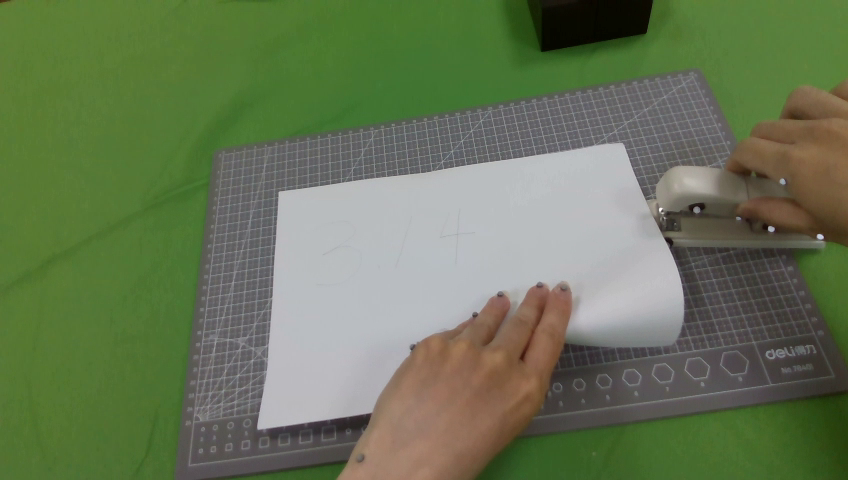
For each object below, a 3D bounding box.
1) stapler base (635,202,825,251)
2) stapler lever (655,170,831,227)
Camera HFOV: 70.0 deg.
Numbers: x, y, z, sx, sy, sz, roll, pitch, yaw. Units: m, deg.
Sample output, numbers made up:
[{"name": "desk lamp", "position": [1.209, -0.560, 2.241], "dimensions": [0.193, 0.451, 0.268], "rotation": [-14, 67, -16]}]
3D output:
[{"name": "stapler base", "position": [0.226, -0.015, 0.446], "dimensions": [0.130, 0.024, 0.041], "rotation": [1, 61, 8]}, {"name": "stapler lever", "position": [0.224, -0.029, 0.425], "dimensions": [0.118, 0.040, 0.026], "rotation": [1, 61, 8]}]
